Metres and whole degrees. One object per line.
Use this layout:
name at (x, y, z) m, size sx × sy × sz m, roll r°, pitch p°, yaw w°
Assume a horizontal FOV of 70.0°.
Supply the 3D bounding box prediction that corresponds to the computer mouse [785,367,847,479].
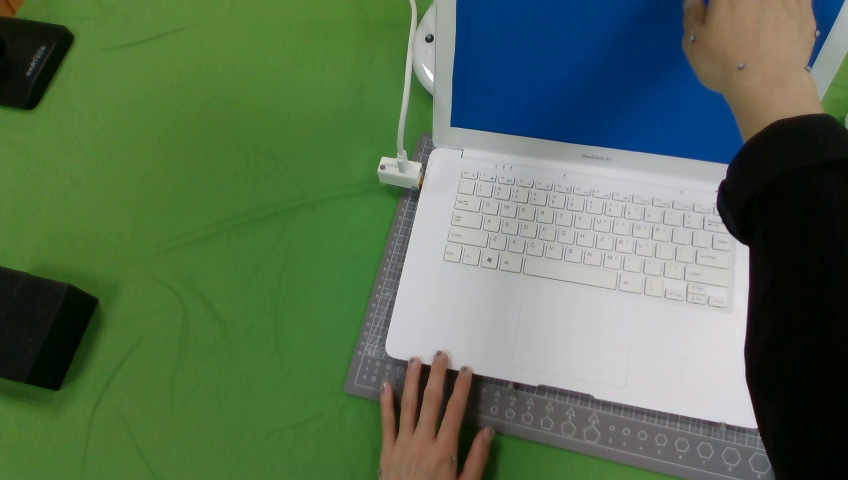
computer mouse at (0.353, 0.167, 0.523) m, size 0.062 × 0.041 × 0.116 m, roll 14°, pitch 67°, yaw 11°

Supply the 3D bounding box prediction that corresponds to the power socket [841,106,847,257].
power socket at (0.463, -0.048, 0.603) m, size 0.072 × 0.033 × 0.225 m, roll 9°, pitch 70°, yaw 6°

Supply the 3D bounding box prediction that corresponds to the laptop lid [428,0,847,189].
laptop lid at (0.177, -0.159, 0.558) m, size 0.356 × 0.244 × 0.013 m, roll 8°, pitch 46°, yaw 9°

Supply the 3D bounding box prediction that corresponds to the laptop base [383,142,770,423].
laptop base at (0.153, 0.031, 0.604) m, size 0.354 × 0.023 × 0.234 m, roll 9°, pitch 74°, yaw 8°

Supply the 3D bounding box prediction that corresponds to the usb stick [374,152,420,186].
usb stick at (-0.022, -0.074, 0.644) m, size 0.059 × 0.027 × 0.021 m, roll 13°, pitch 65°, yaw 7°

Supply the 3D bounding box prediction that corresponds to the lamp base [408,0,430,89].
lamp base at (0.049, -0.265, 0.639) m, size 0.161 × 0.181 × 0.177 m, roll -26°, pitch 66°, yaw -6°
